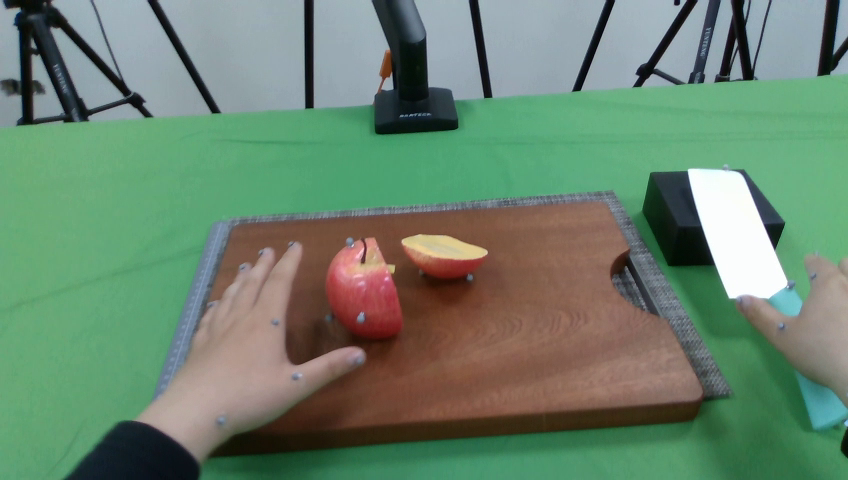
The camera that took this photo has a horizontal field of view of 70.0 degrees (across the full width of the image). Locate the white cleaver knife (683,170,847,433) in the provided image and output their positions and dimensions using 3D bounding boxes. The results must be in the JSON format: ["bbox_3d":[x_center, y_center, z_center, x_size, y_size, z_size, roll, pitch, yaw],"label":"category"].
[{"bbox_3d":[0.293,0.036,0.541,0.066,0.022,0.283,-3,48,5],"label":"white cleaver knife"}]

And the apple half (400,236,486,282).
[{"bbox_3d":[0.013,0.022,0.554,0.081,0.033,0.081,8,16,-2],"label":"apple half"}]

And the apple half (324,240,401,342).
[{"bbox_3d":[-0.054,0.046,0.499,0.053,0.075,0.080,-17,43,-11],"label":"apple half"}]
